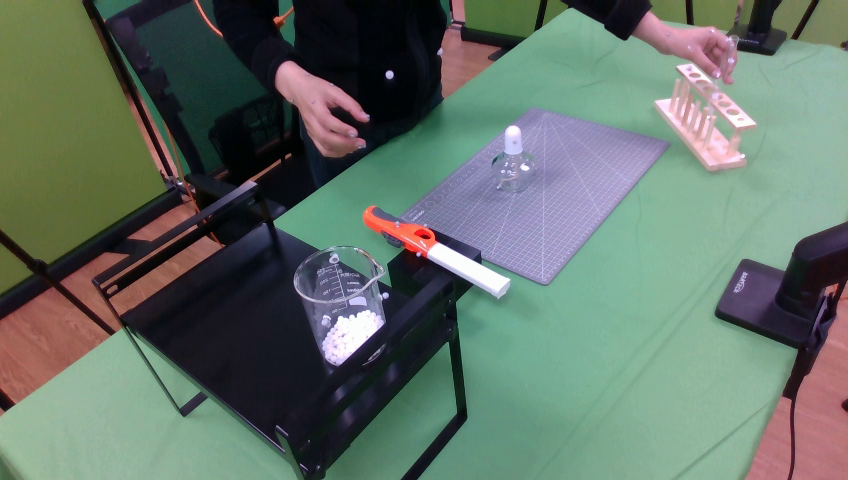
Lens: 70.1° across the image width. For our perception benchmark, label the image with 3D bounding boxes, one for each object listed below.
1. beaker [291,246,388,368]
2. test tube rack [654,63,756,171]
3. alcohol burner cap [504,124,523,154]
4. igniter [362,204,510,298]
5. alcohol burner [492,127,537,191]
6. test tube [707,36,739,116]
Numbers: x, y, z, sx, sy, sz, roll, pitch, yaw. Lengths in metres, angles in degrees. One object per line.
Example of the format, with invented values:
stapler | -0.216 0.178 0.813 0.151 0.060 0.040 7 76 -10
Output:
beaker | -0.073 0.066 0.572 0.084 0.101 0.073 -7 41 0
test tube rack | 0.511 -0.233 1.120 0.067 0.085 0.241 -8 41 -1
alcohol burner cap | 0.151 -0.172 1.022 0.034 0.048 0.033 -4 36 3
igniter | 0.007 0.009 0.887 0.274 0.025 0.057 29 50 32
alcohol burner | 0.156 -0.146 1.045 0.078 0.119 0.077 -4 43 4
test tube | 0.520 -0.283 1.058 0.017 0.151 0.017 -1 43 2
